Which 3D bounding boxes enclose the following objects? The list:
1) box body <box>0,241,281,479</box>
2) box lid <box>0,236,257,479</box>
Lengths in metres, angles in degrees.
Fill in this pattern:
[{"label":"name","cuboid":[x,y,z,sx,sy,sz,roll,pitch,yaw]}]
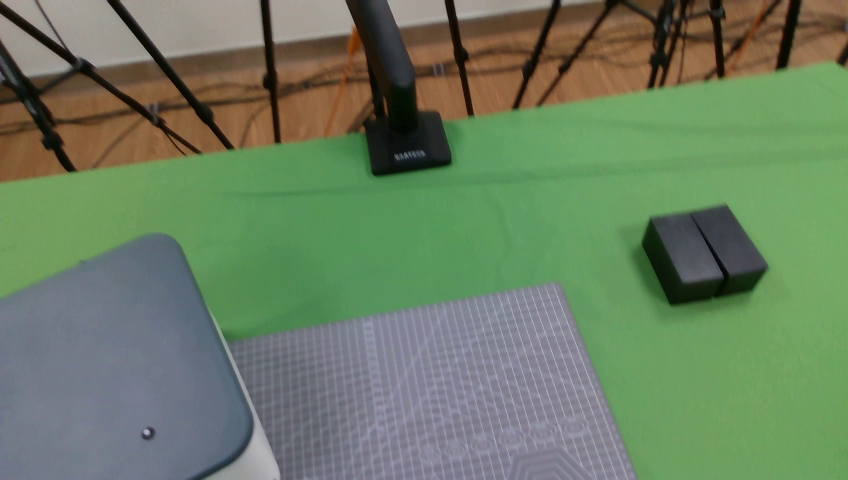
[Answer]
[{"label":"box body","cuboid":[-0.346,0.198,0.568,0.364,0.162,0.251,-26,55,-16]},{"label":"box lid","cuboid":[-0.348,0.152,0.509,0.372,0.015,0.260,-26,56,-16]}]
